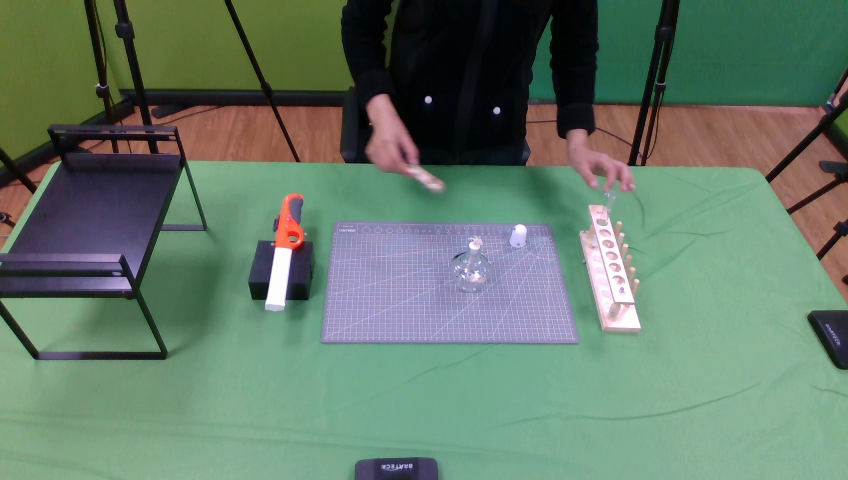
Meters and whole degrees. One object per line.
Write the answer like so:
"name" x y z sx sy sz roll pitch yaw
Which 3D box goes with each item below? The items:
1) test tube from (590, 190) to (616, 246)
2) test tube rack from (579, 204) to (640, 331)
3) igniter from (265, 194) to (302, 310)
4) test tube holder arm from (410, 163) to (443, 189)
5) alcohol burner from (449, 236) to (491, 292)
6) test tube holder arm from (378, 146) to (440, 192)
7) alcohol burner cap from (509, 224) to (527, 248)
"test tube" 0.339 -0.038 1.148 0.017 0.151 0.017 0 51 0
"test tube rack" 0.353 0.047 1.137 0.067 0.085 0.241 2 46 -2
"igniter" -0.253 0.011 1.099 0.057 0.025 0.274 9 46 -12
"test tube holder arm" 0.001 -0.119 1.124 0.010 0.015 0.087 -46 54 -10
"alcohol burner" 0.086 0.038 1.101 0.078 0.119 0.077 3 45 -2
"test tube holder arm" -0.032 -0.137 1.149 0.013 0.015 0.177 -46 54 -10
"alcohol burner cap" 0.189 -0.011 1.206 0.034 0.048 0.033 2 46 -1
